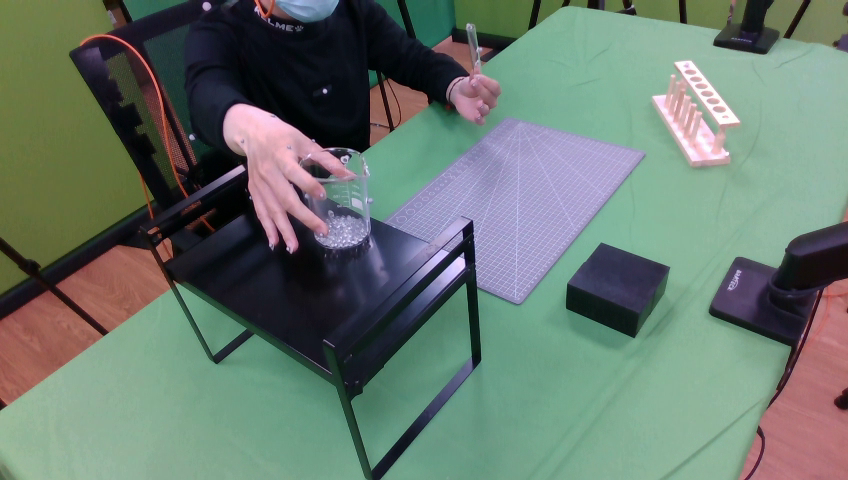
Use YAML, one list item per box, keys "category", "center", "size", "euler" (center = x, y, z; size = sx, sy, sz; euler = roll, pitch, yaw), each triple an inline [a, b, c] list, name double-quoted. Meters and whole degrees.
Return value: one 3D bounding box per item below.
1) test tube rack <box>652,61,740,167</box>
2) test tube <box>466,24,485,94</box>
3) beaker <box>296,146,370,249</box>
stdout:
- category: "test tube rack"
  center: [0.499, -0.242, 1.130]
  size: [0.067, 0.085, 0.241]
  euler: [-5, 41, 3]
- category: "test tube"
  center: [0.090, -0.307, 1.038]
  size: [0.017, 0.151, 0.017]
  euler: [-6, 58, 10]
- category: "beaker"
  center: [-0.098, -0.046, 0.695]
  size: [0.083, 0.100, 0.074]
  euler: [13, 39, 18]
